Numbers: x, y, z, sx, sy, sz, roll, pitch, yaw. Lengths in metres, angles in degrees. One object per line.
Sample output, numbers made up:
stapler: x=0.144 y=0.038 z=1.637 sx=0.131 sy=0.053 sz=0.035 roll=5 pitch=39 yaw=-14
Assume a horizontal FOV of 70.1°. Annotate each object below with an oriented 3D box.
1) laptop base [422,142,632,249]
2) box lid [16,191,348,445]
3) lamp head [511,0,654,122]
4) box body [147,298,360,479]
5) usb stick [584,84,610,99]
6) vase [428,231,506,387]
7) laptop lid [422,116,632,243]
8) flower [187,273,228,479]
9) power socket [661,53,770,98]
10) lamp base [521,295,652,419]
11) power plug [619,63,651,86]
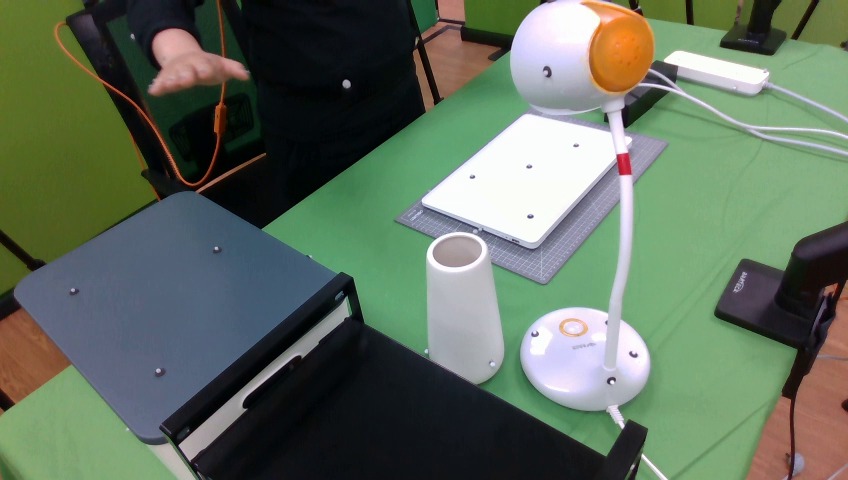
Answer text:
laptop base: x=0.192 y=-0.117 z=1.087 sx=0.233 sy=0.023 sz=0.355 roll=21 pitch=47 yaw=34
box lid: x=-0.295 y=0.062 z=0.723 sx=0.368 sy=0.015 sz=0.264 roll=26 pitch=51 yaw=34
lamp head: x=0.155 y=-0.168 z=0.563 sx=0.113 sy=0.113 sz=0.122 roll=-18 pitch=23 yaw=-12
box body: x=-0.288 y=0.118 z=0.772 sx=0.361 sy=0.161 sz=0.255 roll=26 pitch=50 yaw=33
usb stick: x=0.353 y=-0.306 z=1.252 sx=0.027 sy=0.021 sz=0.058 roll=-1 pitch=0 yaw=-40
vase: x=0.050 y=0.087 z=0.728 sx=0.098 sy=0.201 sz=0.097 roll=-3 pitch=40 yaw=3
laptop lid: x=0.189 y=-0.126 z=1.081 sx=0.239 sy=0.013 sz=0.358 roll=23 pitch=48 yaw=35
flower: x=-0.282 y=0.161 z=0.819 sx=0.044 sy=0.038 sz=0.359 roll=9 pitch=34 yaw=-21
power socket: x=0.616 y=-0.355 z=1.292 sx=0.225 sy=0.033 sz=0.072 roll=29 pitch=53 yaw=35
lamp base: x=0.200 y=0.095 z=0.710 sx=0.161 sy=0.181 sz=0.178 roll=-16 pitch=43 yaw=-10
power plug: x=0.435 y=-0.341 z=1.266 sx=0.035 sy=0.053 sz=0.072 roll=5 pitch=31 yaw=-14
